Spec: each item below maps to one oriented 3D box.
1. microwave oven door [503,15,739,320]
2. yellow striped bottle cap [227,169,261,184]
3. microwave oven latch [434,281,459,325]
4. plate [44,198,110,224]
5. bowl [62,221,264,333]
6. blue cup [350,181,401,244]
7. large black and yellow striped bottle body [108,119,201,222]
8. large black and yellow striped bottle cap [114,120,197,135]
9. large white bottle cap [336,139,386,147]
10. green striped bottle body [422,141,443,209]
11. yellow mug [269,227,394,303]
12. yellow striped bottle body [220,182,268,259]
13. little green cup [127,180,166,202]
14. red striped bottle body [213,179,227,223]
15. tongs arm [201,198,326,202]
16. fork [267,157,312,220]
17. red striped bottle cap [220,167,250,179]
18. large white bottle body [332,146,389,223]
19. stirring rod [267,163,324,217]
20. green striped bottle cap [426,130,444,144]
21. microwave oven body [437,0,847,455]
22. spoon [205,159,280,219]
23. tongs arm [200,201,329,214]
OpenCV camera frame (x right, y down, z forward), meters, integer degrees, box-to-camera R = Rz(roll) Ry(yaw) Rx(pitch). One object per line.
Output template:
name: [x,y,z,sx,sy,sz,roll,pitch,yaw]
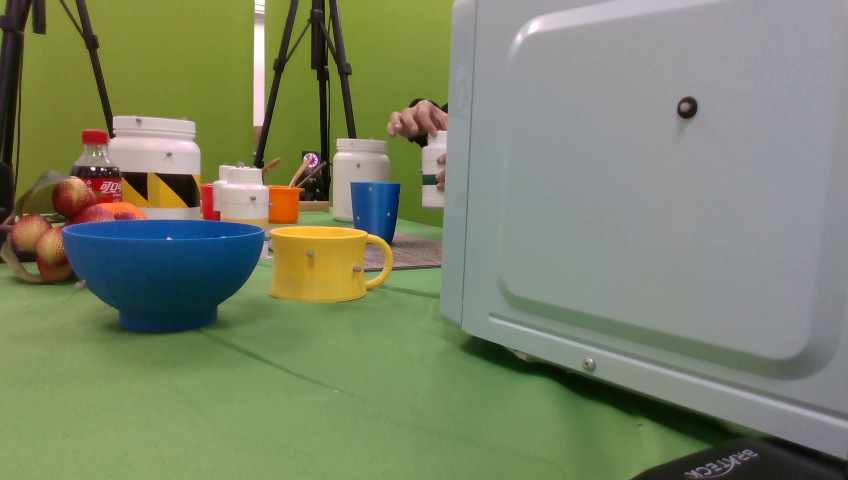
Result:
microwave oven door: [0.218,-0.065,0.600,0.358,0.243,0.039,-4,10,-41]
yellow striped bottle cap: [-0.243,-0.086,0.818,0.044,0.018,0.044,3,6,0]
microwave oven latch: [0.044,0.045,0.470,0.079,0.029,0.030,-3,8,-39]
plate: [-0.617,-0.056,1.179,0.209,0.038,0.209,3,7,0]
bowl: [-0.209,0.029,0.496,0.151,0.077,0.151,2,7,0]
blue cup: [-0.082,-0.047,1.010,0.093,0.100,0.092,1,6,0]
large black and yellow striped bottle body: [-0.412,-0.088,0.930,0.131,0.184,0.130,3,7,0]
large black and yellow striped bottle cap: [-0.407,-0.171,0.920,0.115,0.019,0.115,2,9,0]
large white bottle cap: [-0.143,-0.219,1.375,0.115,0.018,0.115,2,8,0]
green striped bottle body: [0.027,-0.110,0.968,0.063,0.119,0.063,0,6,0]
yellow mug: [-0.094,0.023,0.629,0.131,0.064,0.099,0,7,-22]
yellow striped bottle body: [-0.246,-0.036,0.825,0.063,0.120,0.063,3,8,0]
little green cup: [-0.485,-0.086,1.061,0.061,0.038,0.061,1,7,0]
red striped bottle body: [-0.284,-0.048,0.909,0.063,0.119,0.063,3,12,0]
tongs arm: [-0.433,-0.090,1.507,0.390,0.028,0.028,-1,2,-29]
fork: [-0.289,-0.116,1.321,0.028,0.019,0.207,6,52,18]
red striped bottle cap: [-0.281,-0.100,0.901,0.044,0.017,0.044,-1,5,0]
large white bottle body: [-0.146,-0.136,1.388,0.131,0.184,0.130,2,8,0]
stirring rod: [-0.278,-0.105,1.294,0.176,0.006,0.014,-47,25,-18]
green striped bottle cap: [0.026,-0.162,0.962,0.044,0.020,0.044,-1,2,0]
microwave oven body: [0.279,-0.040,0.465,0.444,0.260,0.324,-3,9,-41]
spoon: [-0.364,-0.103,1.214,0.193,0.021,0.041,-42,4,6]
tongs arm: [-0.378,-0.079,1.440,0.387,0.026,0.050,-4,7,-44]
